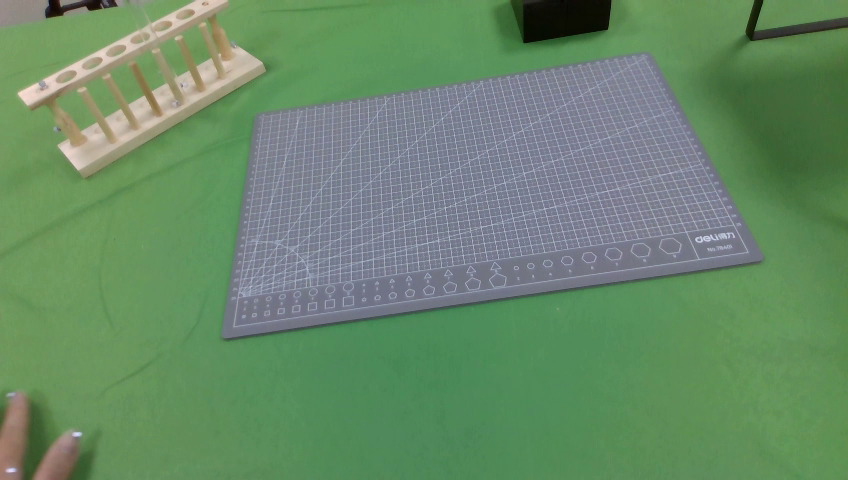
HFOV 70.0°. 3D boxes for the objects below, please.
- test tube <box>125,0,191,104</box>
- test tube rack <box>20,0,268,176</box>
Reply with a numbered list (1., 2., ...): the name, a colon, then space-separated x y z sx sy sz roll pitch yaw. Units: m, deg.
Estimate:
1. test tube: -0.289 -0.211 0.653 0.017 0.152 0.017 -4 49 5
2. test tube rack: -0.309 -0.183 0.692 0.242 0.086 0.066 -39 55 -21
